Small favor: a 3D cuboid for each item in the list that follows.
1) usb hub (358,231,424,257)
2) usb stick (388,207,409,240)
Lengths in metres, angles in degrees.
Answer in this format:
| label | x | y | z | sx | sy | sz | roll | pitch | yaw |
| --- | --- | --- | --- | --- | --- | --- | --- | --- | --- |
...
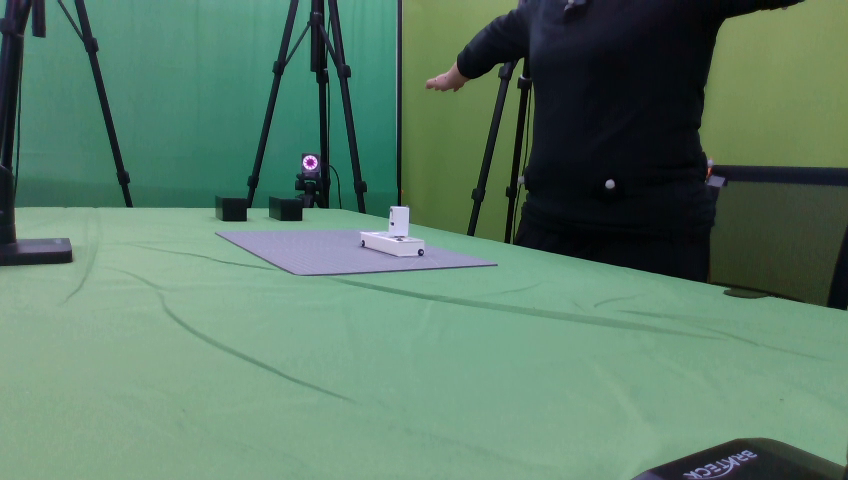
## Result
| label | x | y | z | sx | sy | sz | roll | pitch | yaw |
| --- | --- | --- | --- | --- | --- | --- | --- | --- | --- |
| usb hub | -0.054 | 0.005 | 0.947 | 0.050 | 0.025 | 0.124 | -3 | 9 | -34 |
| usb stick | -0.040 | -0.021 | 0.931 | 0.027 | 0.059 | 0.021 | -5 | 11 | -37 |
